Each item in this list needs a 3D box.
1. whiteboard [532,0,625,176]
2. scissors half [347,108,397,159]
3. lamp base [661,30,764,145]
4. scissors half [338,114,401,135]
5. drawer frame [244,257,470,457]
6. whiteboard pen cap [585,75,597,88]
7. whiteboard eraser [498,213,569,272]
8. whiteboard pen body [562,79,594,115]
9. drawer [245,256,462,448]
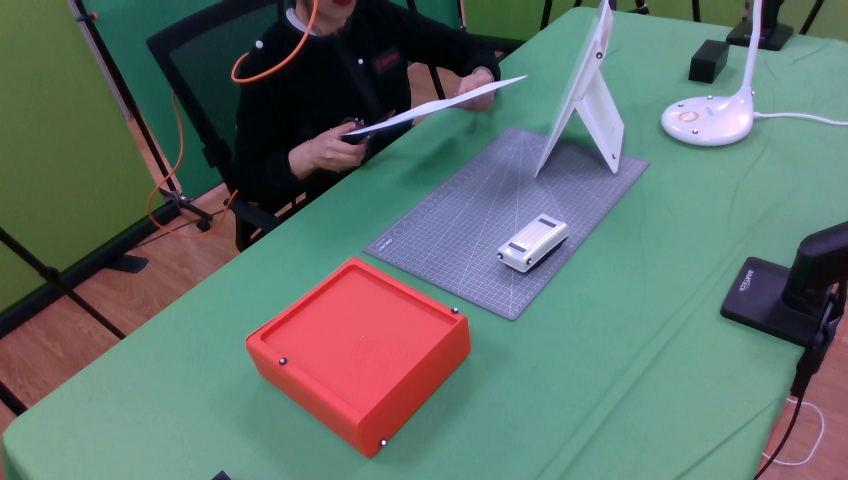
[{"bbox_3d":[0.320,-0.259,1.050,0.144,0.306,0.217,21,45,5],"label":"whiteboard"},{"bbox_3d":[-0.097,-0.202,1.151,0.013,0.174,0.040,-35,89,-42],"label":"scissors half"},{"bbox_3d":[0.535,-0.287,1.096,0.179,0.181,0.159,-10,40,-4],"label":"lamp base"},{"bbox_3d":[-0.106,-0.223,1.148,0.174,0.040,0.013,5,24,42],"label":"scissors half"},{"bbox_3d":[-0.084,0.138,0.788,0.212,0.083,0.202,25,50,33],"label":"drawer frame"},{"bbox_3d":[0.362,-0.343,1.310,0.018,0.018,0.033,20,54,29],"label":"whiteboard pen cap"},{"bbox_3d":[0.168,0.006,0.923,0.113,0.042,0.055,-36,48,-28],"label":"whiteboard eraser"},{"bbox_3d":[0.328,-0.306,1.277,0.017,0.017,0.141,20,52,30],"label":"whiteboard pen body"},{"bbox_3d":[-0.089,0.136,0.792,0.210,0.073,0.195,26,51,34],"label":"drawer"}]
